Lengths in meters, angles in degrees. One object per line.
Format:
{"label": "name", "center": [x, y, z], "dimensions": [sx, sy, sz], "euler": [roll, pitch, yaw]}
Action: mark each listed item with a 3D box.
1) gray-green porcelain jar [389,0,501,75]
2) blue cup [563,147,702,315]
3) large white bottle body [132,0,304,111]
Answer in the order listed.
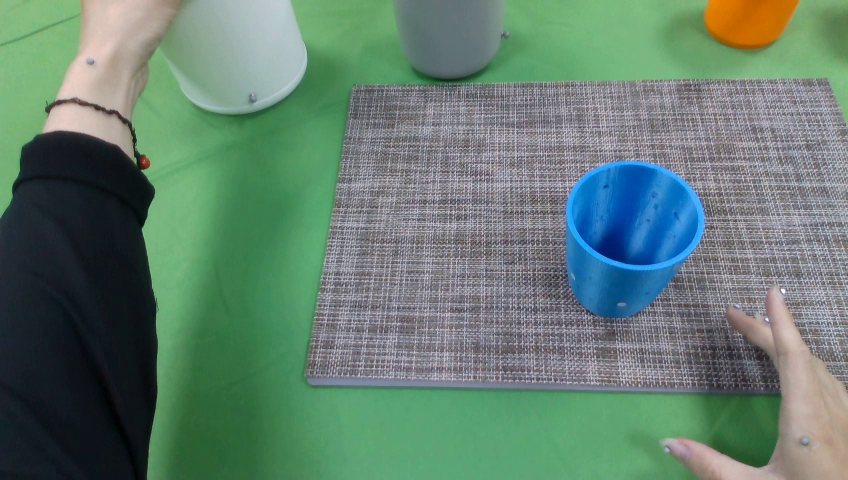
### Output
{"label": "gray-green porcelain jar", "center": [0.020, -0.230, 0.568], "dimensions": [0.106, 0.127, 0.105], "euler": [-2, 59, 4]}
{"label": "blue cup", "center": [0.137, 0.006, 0.428], "dimensions": [0.092, 0.101, 0.092], "euler": [-3, 58, 5]}
{"label": "large white bottle body", "center": [-0.192, -0.224, 0.546], "dimensions": [0.130, 0.186, 0.129], "euler": [-2, 59, 4]}
